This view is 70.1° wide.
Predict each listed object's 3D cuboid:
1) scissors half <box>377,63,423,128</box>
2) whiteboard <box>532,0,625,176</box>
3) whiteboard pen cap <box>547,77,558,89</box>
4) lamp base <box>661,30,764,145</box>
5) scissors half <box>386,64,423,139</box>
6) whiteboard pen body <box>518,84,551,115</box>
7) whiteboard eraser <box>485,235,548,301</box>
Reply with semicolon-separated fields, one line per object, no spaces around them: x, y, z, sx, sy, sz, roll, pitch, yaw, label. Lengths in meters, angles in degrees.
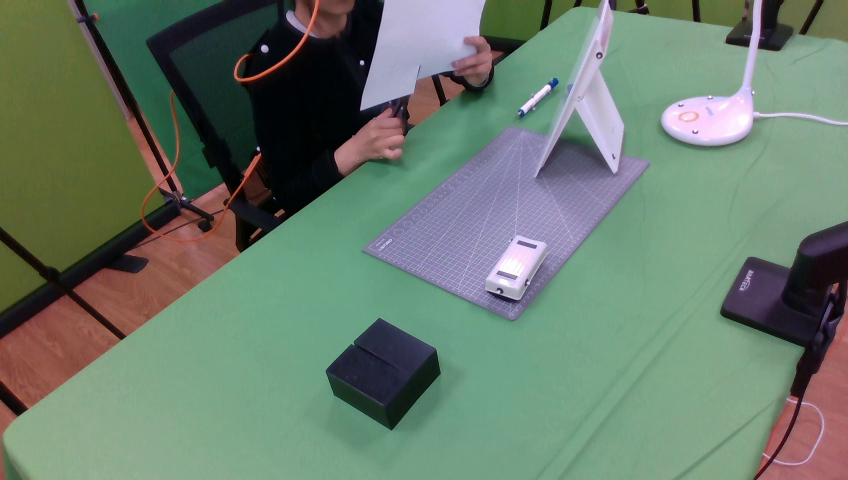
-0.046;-0.272;1.138;0.013;0.174;0.040;-28;81;-42;scissors half
0.320;-0.259;1.050;0.144;0.306;0.217;21;45;5;whiteboard
0.279;-0.341;1.321;0.018;0.018;0.033;22;51;31;whiteboard pen cap
0.535;-0.287;1.096;0.179;0.181;0.159;-10;40;-4;lamp base
-0.033;-0.257;1.135;0.040;0.175;0.013;41;45;15;scissors half
0.242;-0.306;1.290;0.017;0.017;0.141;24;52;33;whiteboard pen body
0.137;0.042;0.887;0.055;0.042;0.113;15;45;27;whiteboard eraser
